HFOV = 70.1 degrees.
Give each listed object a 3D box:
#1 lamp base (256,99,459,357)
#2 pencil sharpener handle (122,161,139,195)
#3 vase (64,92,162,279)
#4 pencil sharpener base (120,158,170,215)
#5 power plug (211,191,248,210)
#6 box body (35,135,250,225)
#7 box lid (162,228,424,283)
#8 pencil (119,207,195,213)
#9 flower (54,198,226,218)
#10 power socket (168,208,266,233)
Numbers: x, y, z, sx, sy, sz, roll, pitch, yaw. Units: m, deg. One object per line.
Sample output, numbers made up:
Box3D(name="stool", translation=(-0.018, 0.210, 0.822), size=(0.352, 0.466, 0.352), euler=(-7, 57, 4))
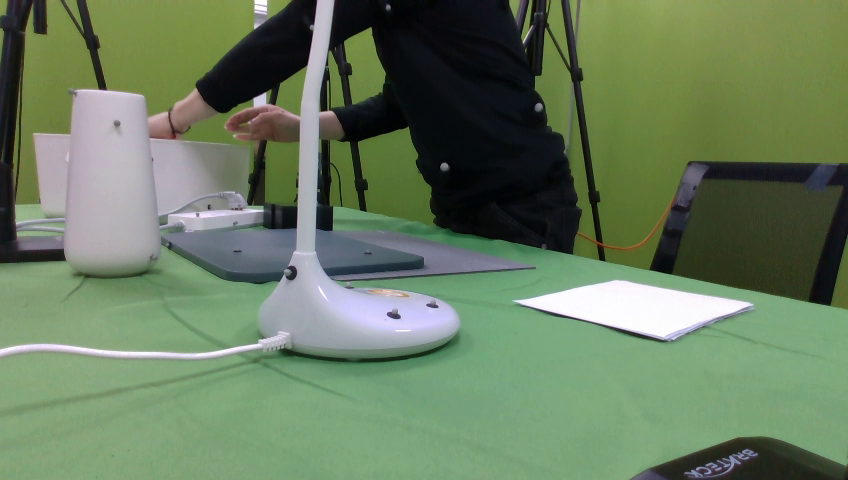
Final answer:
Box3D(name="lamp base", translation=(-0.055, -0.013, 0.463), size=(0.160, 0.180, 0.180), euler=(6, 11, 27))
Box3D(name="pencil sharpener handle", translation=(-0.589, -0.123, 1.199), size=(0.030, 0.068, 0.036), euler=(6, 16, 25))
Box3D(name="vase", translation=(-0.348, -0.060, 0.673), size=(0.098, 0.200, 0.098), euler=(1, 7, 0))
Box3D(name="pencil sharpener base", translation=(-0.545, -0.105, 1.178), size=(0.076, 0.107, 0.061), euler=(6, 8, 25))
Box3D(name="power plug", translation=(-0.384, -0.071, 1.206), size=(0.072, 0.052, 0.035), euler=(2, 10, 29))
Box3D(name="box body", translation=(-0.560, -0.127, 1.257), size=(0.253, 0.160, 0.365), euler=(4, 8, 15))
Box3D(name="box lid", translation=(-0.200, 0.014, 0.861), size=(0.265, 0.015, 0.369), euler=(-3, 9, -35))
Box3D(name="pencil", translation=(-0.587, -0.067, 1.343), size=(0.012, 0.012, 0.195), euler=(6, 6, 28))
Box3D(name="flower", translation=(-0.574, -0.058, 1.266), size=(0.044, 0.038, 0.364), euler=(35, 19, 33))
Box3D(name="power socket", translation=(-0.380, -0.038, 1.129), size=(0.072, 0.032, 0.227), euler=(4, 8, 18))
